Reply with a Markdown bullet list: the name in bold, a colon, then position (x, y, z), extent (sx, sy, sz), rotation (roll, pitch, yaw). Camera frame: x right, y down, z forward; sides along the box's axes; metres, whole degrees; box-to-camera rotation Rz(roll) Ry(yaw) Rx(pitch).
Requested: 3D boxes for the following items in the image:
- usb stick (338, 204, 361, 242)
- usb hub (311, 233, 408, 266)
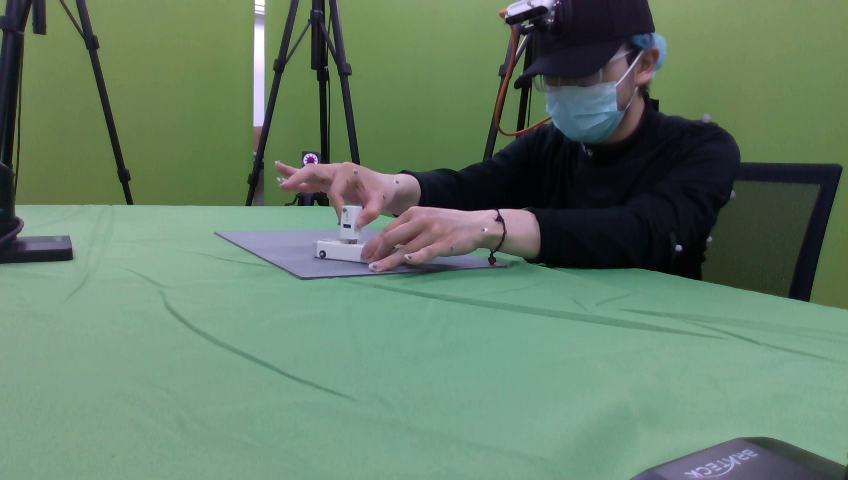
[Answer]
- **usb stick**: position (-0.100, -0.018, 0.812), extent (0.021, 0.059, 0.027), rotation (8, 12, 20)
- **usb hub**: position (-0.089, 0.012, 0.828), extent (0.125, 0.025, 0.049), rotation (6, 16, 20)
